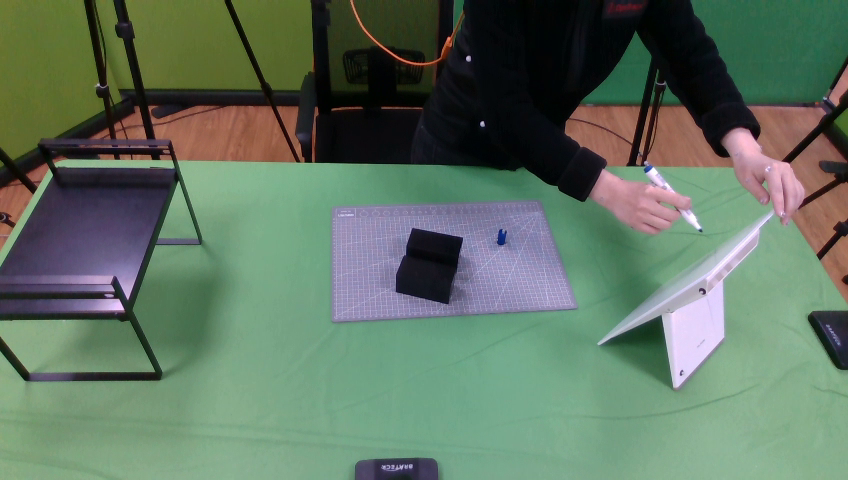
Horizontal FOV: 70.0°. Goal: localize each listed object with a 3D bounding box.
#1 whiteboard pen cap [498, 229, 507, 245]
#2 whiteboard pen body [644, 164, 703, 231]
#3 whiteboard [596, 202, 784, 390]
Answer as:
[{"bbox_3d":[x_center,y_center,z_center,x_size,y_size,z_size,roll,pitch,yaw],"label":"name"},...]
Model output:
[{"bbox_3d":[0.156,-0.005,1.202,0.018,0.033,0.018,0,44,0],"label":"whiteboard pen cap"},{"bbox_3d":[0.400,-0.066,0.966,0.141,0.017,0.017,47,53,-5],"label":"whiteboard pen body"},{"bbox_3d":[0.460,0.112,0.967,0.217,0.306,0.143,-31,74,-29],"label":"whiteboard"}]
